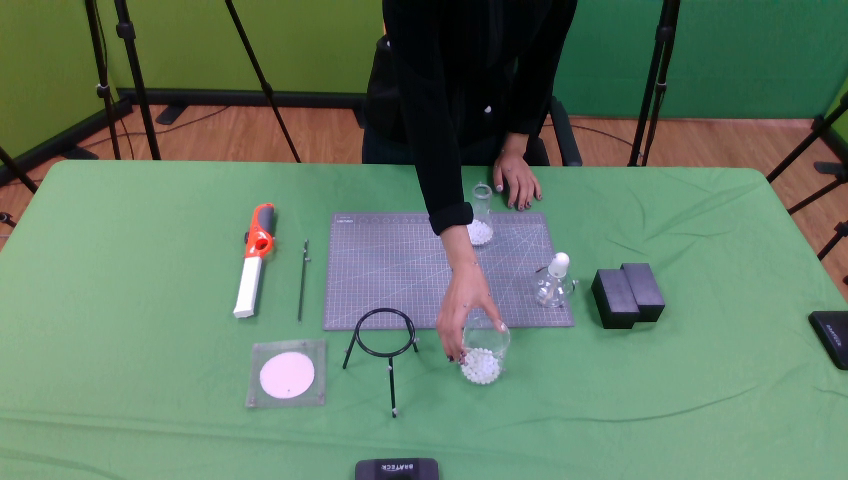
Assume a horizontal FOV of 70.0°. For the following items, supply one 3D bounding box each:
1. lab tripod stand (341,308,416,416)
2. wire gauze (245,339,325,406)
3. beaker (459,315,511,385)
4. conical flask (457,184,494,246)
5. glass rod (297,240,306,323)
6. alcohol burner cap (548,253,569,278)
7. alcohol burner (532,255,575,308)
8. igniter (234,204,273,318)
[{"bbox_3d":[-0.061,0.177,0.946,0.148,0.132,0.147,2,44,-2],"label":"lab tripod stand"},{"bbox_3d":[-0.224,0.215,0.984,0.125,0.011,0.120,-2,46,-5],"label":"wire gauze"},{"bbox_3d":[0.093,0.182,0.978,0.084,0.101,0.073,-20,50,-22],"label":"beaker"},{"bbox_3d":[0.106,-0.052,1.185,0.075,0.122,0.075,2,46,-2],"label":"conical flask"},{"bbox_3d":[-0.227,0.072,1.121,0.008,0.008,0.198,-2,46,-5],"label":"glass rod"},{"bbox_3d":[0.238,0.042,1.060,0.034,0.048,0.033,1,53,-1],"label":"alcohol burner cap"},{"bbox_3d":[0.236,0.066,1.087,0.078,0.119,0.077,4,45,-3],"label":"alcohol burner"},{"bbox_3d":[-0.320,0.029,1.143,0.057,0.025,0.274,-7,46,3],"label":"igniter"}]
